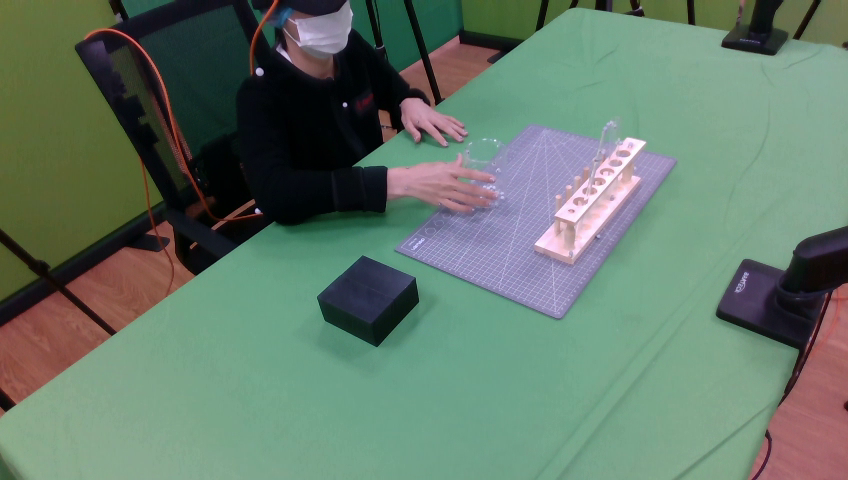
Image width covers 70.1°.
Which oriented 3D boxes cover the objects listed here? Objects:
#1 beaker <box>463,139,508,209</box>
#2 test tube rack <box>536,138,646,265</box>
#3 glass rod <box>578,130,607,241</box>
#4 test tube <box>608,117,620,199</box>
[{"bbox_3d":[0.108,-0.111,1.027,0.073,0.100,0.084,26,49,33],"label":"beaker"},{"bbox_3d":[0.268,-0.071,0.964,0.066,0.085,0.243,23,49,32],"label":"test tube rack"},{"bbox_3d":[0.240,-0.072,0.866,0.008,0.200,0.008,0,44,1],"label":"glass rod"},{"bbox_3d":[0.298,-0.125,0.946,0.017,0.151,0.017,-8,42,8],"label":"test tube"}]
